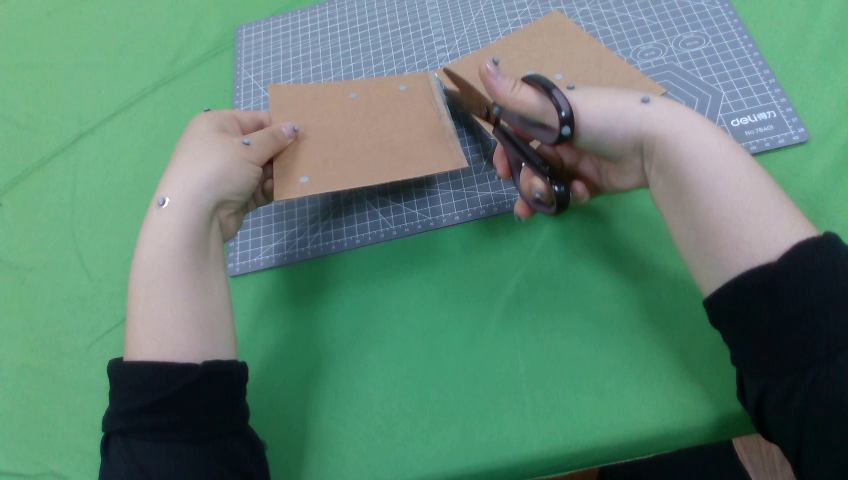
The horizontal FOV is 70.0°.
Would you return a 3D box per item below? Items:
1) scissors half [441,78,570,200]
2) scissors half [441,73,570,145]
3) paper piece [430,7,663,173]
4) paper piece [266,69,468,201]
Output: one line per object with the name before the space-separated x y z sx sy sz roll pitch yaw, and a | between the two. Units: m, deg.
scissors half | 0.049 -0.079 0.427 0.013 0.040 0.173 -20 45 -14
scissors half | 0.047 -0.096 0.415 0.013 0.040 0.173 -16 22 -18
paper piece | 0.097 -0.129 0.494 0.135 0.004 0.134 -31 63 -14
paper piece | -0.049 -0.085 0.455 0.138 0.009 0.134 -10 44 -4
